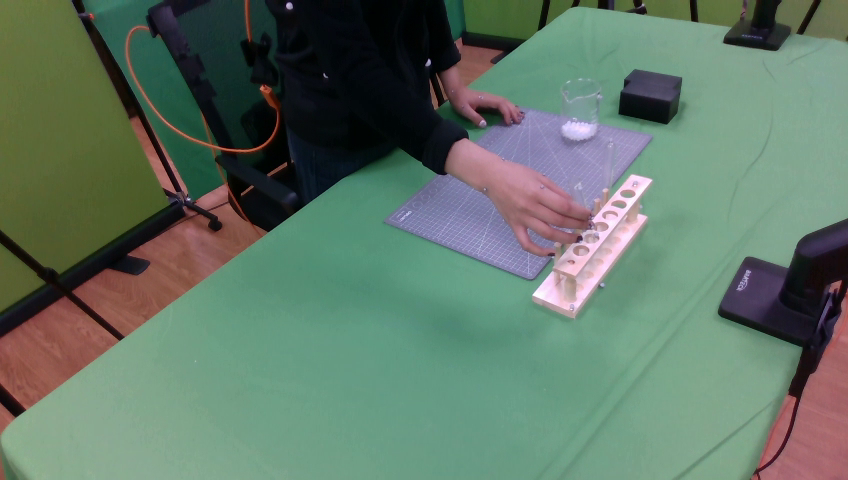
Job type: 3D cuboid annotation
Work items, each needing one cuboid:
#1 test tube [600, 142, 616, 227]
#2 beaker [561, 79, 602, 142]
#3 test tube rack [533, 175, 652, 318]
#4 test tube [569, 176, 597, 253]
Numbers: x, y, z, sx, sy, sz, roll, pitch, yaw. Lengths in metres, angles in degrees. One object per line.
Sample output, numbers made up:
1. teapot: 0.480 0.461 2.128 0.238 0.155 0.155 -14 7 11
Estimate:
1. test tube: 0.275 -0.081 0.908 0.017 0.151 0.017 -5 40 5
2. beaker: 0.296 -0.243 1.150 0.073 0.101 0.084 22 50 32
3. test tube rack: 0.251 -0.001 0.888 0.066 0.085 0.243 22 49 32
4. test tube: 0.212 -0.029 0.797 0.017 0.151 0.017 -14 47 16
